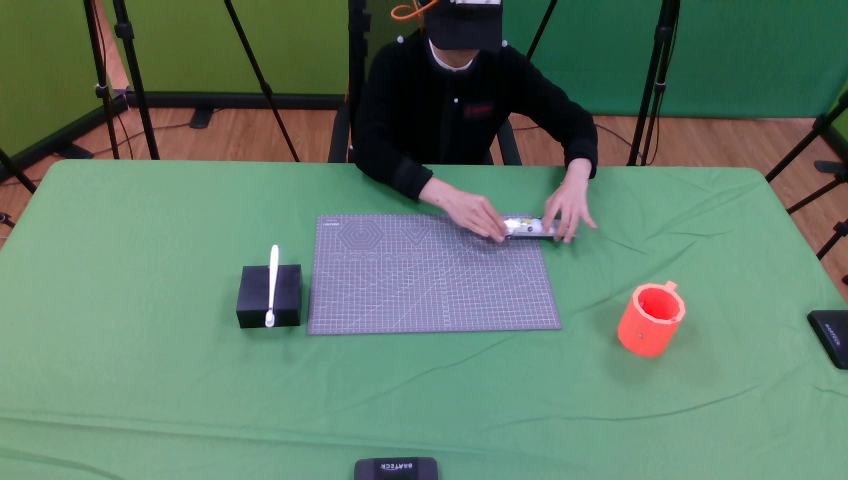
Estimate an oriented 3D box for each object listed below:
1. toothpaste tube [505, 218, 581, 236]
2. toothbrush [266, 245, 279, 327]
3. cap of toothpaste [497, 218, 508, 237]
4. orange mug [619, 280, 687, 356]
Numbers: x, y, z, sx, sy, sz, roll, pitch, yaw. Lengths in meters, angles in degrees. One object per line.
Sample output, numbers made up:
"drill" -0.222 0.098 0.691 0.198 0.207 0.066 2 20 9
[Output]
"toothpaste tube" 0.232 -0.025 1.214 0.165 0.034 0.054 -2 44 -15
"toothbrush" -0.261 0.073 1.042 0.014 0.017 0.180 -6 46 -3
"cap of toothpaste" 0.155 -0.025 1.195 0.011 0.037 0.037 -3 46 -15
"orange mug" 0.401 0.125 1.045 0.083 0.101 0.126 30 56 24
